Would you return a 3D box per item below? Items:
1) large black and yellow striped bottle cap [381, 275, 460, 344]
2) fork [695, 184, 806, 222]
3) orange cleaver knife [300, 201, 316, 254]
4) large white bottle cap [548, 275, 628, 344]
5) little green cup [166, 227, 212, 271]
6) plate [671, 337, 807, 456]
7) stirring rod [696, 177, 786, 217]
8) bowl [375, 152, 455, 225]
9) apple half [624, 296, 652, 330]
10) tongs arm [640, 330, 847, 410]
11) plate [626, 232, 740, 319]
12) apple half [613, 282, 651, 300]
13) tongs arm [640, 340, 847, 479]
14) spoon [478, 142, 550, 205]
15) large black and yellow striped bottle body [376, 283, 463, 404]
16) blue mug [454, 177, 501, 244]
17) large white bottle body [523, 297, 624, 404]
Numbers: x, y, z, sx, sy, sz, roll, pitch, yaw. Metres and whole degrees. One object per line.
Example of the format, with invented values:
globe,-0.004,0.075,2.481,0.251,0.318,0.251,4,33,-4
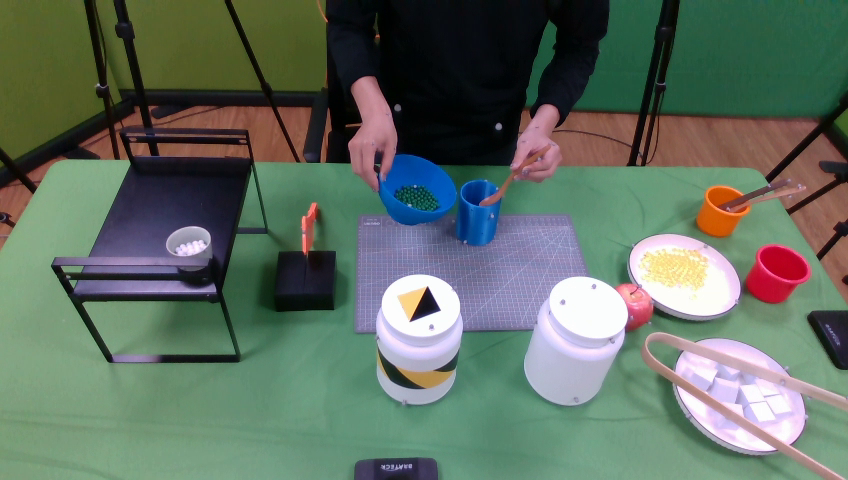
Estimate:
large black and yellow striped bottle cap,-0.005,0.098,0.875,0.115,0.019,0.114,2,45,-2
fork,0.658,-0.074,1.230,0.207,0.019,0.028,-24,33,36
orange cleaver knife,-0.221,-0.027,1.161,0.012,0.077,0.210,-1,15,-4
large white bottle cap,0.240,0.100,0.890,0.115,0.018,0.114,3,47,-3
little green cup,-0.344,0.014,0.895,0.061,0.039,0.061,3,46,-3
plate,0.503,0.254,0.984,0.208,0.039,0.206,2,46,-2
stirring rod,0.648,-0.087,1.244,0.176,0.006,0.014,-25,50,29
bowl,-0.026,-0.081,1.109,0.152,0.077,0.150,15,44,-15
apple half,0.368,0.135,1.060,0.081,0.081,0.032,-11,43,-15
tongs arm,0.543,0.225,0.969,0.384,0.026,0.050,22,52,13
plate,0.489,0.070,1.157,0.209,0.038,0.208,3,46,-3
apple half,0.356,0.109,1.086,0.081,0.075,0.053,-13,44,-12
tongs arm,0.500,0.277,0.919,0.386,0.028,0.028,34,59,22
spoon,0.160,-0.117,1.096,0.021,0.194,0.041,43,44,1
large black and yellow striped bottle body,-0.010,0.155,0.937,0.131,0.185,0.130,2,47,-2
blue mug,0.106,-0.067,1.208,0.082,0.106,0.116,5,46,1
large white bottle body,0.235,0.159,0.952,0.131,0.185,0.130,2,47,-2
